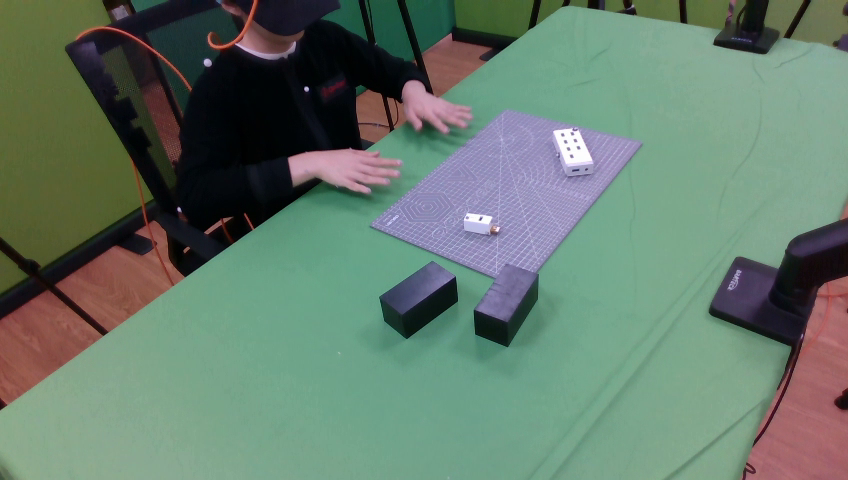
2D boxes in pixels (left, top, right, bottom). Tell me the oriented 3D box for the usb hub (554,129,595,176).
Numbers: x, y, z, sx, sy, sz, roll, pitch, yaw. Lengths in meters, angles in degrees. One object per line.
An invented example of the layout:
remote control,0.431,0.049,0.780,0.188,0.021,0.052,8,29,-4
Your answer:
usb hub,0.278,-0.163,1.119,0.049,0.025,0.124,-6,41,2

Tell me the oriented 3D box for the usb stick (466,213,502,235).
usb stick,0.098,-0.024,0.983,0.059,0.027,0.021,13,41,18
